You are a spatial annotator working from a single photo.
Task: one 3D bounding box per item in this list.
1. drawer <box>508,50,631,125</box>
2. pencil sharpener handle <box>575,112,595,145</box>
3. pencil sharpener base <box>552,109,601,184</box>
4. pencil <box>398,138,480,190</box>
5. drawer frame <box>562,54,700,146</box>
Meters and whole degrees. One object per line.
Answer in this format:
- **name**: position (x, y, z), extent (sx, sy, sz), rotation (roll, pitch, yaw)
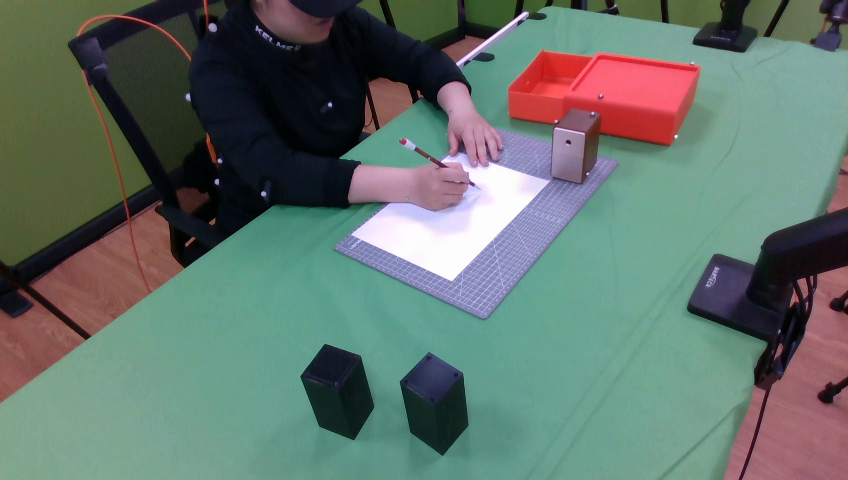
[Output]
- **drawer**: position (0.305, -0.310, 1.246), extent (0.210, 0.073, 0.195), rotation (16, 45, 25)
- **pencil sharpener handle**: position (0.290, -0.203, 1.077), extent (0.036, 0.068, 0.031), rotation (19, 47, 26)
- **pencil sharpener base**: position (0.265, -0.163, 1.053), extent (0.061, 0.107, 0.077), rotation (17, 46, 27)
- **pencil**: position (0.030, -0.122, 0.999), extent (0.012, 0.196, 0.012), rotation (-25, 53, 38)
- **drawer frame**: position (0.407, -0.282, 1.195), extent (0.212, 0.083, 0.202), rotation (17, 45, 25)
